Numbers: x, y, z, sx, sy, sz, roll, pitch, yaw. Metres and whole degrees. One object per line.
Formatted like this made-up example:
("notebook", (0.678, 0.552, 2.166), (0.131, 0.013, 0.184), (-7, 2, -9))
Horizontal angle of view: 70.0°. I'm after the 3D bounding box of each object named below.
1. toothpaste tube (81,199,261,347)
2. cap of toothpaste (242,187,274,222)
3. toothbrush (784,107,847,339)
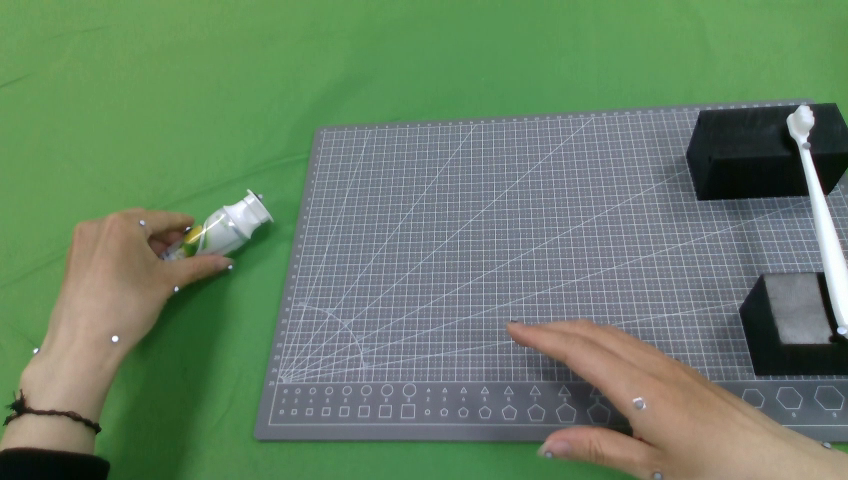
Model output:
("toothpaste tube", (-0.203, 0.019, 0.496), (0.165, 0.035, 0.054), (-39, 41, -14))
("cap of toothpaste", (-0.142, -0.029, 0.512), (0.011, 0.038, 0.037), (-39, 59, -15))
("toothbrush", (0.263, -0.019, 0.400), (0.014, 0.017, 0.180), (11, 59, -3))
